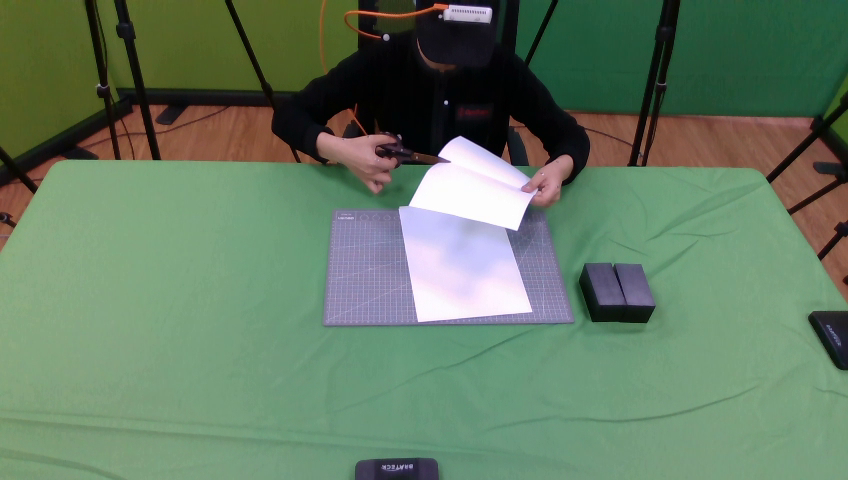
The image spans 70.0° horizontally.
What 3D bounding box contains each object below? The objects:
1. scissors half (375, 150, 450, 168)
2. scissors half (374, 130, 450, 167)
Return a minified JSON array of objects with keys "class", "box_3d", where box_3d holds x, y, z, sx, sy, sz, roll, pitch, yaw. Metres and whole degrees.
[{"class":"scissors half","box_3d":[-0.024,-0.166,1.249,0.175,0.040,0.013,4,31,28]},{"class":"scissors half","box_3d":[-0.025,-0.184,1.237,0.175,0.040,0.013,25,44,13]}]
